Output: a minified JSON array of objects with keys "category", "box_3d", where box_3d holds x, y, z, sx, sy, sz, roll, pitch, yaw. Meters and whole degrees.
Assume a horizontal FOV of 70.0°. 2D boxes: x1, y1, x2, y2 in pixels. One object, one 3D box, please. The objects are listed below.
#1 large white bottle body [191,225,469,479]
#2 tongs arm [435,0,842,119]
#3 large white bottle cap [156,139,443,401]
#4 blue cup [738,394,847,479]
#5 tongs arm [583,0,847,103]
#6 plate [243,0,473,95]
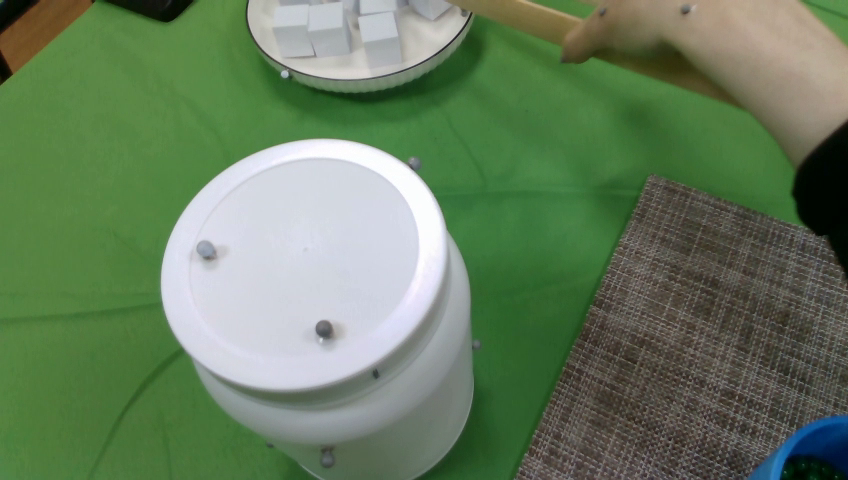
[{"category":"large white bottle body","box_3d":[-0.042,0.050,0.320,0.130,0.186,0.129,-2,60,4]},{"category":"tongs arm","box_3d":[0.089,-0.166,0.437,0.051,0.027,0.380,-35,50,-20]},{"category":"large white bottle cap","box_3d":[-0.049,0.007,0.246,0.115,0.018,0.114,-2,59,4]},{"category":"blue cup","box_3d":[0.191,0.138,0.293,0.092,0.101,0.092,-3,58,5]},{"category":"tongs arm","box_3d":[0.114,-0.185,0.449,0.028,0.028,0.383,-33,49,-24]},{"category":"plate","box_3d":[-0.057,-0.207,0.553,0.207,0.039,0.206,-2,60,4]}]
